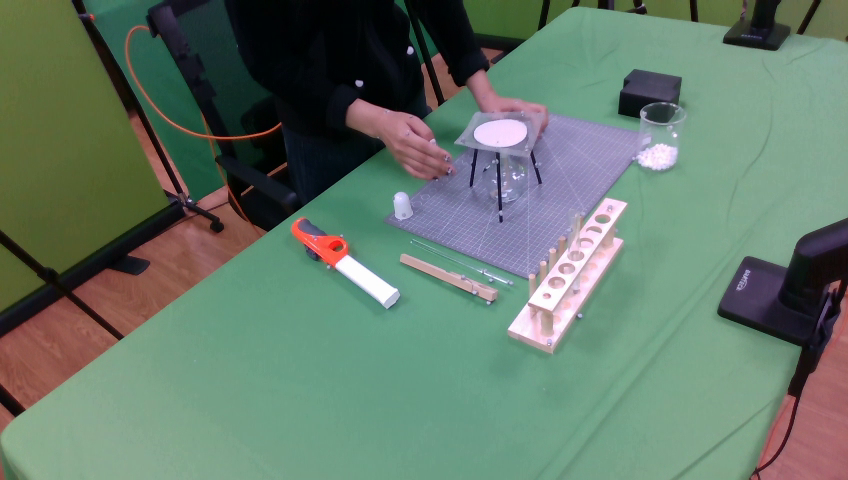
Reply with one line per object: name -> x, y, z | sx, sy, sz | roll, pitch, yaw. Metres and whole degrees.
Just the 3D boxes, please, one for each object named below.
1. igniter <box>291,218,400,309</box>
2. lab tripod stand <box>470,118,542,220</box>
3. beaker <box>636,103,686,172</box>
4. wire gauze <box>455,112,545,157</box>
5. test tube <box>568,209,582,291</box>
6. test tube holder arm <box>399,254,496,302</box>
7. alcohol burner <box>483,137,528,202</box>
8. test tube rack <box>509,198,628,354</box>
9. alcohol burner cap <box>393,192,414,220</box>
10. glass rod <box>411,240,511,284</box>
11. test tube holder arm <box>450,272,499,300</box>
igniter -> -0.136, 0.031, 0.970 | 0.057, 0.025, 0.274 | -41, 49, -19
lab tripod stand -> 0.135, -0.128, 1.019 | 0.148, 0.132, 0.147 | -5, 38, 5
beaker -> 0.413, -0.177, 1.055 | 0.084, 0.101, 0.073 | -28, 44, -21
wire gauze -> 0.123, -0.176, 0.972 | 0.124, 0.011, 0.121 | 9, 42, 20
test tube -> 0.200, 0.017, 0.799 | 0.017, 0.151, 0.017 | -8, 45, 8
test tube holder arm -> 0.032, 0.054, 0.914 | 0.177, 0.015, 0.013 | 21, 16, 32
alcohol burner -> 0.138, -0.125, 1.030 | 0.078, 0.119, 0.077 | -4, 41, 4
test tube rack -> 0.206, 0.039, 0.850 | 0.066, 0.085, 0.243 | 20, 48, 31
alcohol burner cap -> -0.038, -0.061, 1.043 | 0.034, 0.048, 0.033 | -5, 41, 5
glass rod -> 0.053, 0.033, 0.946 | 0.198, 0.008, 0.008 | 22, 50, 36
test tube holder arm -> 0.071, 0.068, 0.894 | 0.087, 0.015, 0.010 | 21, 16, 32
